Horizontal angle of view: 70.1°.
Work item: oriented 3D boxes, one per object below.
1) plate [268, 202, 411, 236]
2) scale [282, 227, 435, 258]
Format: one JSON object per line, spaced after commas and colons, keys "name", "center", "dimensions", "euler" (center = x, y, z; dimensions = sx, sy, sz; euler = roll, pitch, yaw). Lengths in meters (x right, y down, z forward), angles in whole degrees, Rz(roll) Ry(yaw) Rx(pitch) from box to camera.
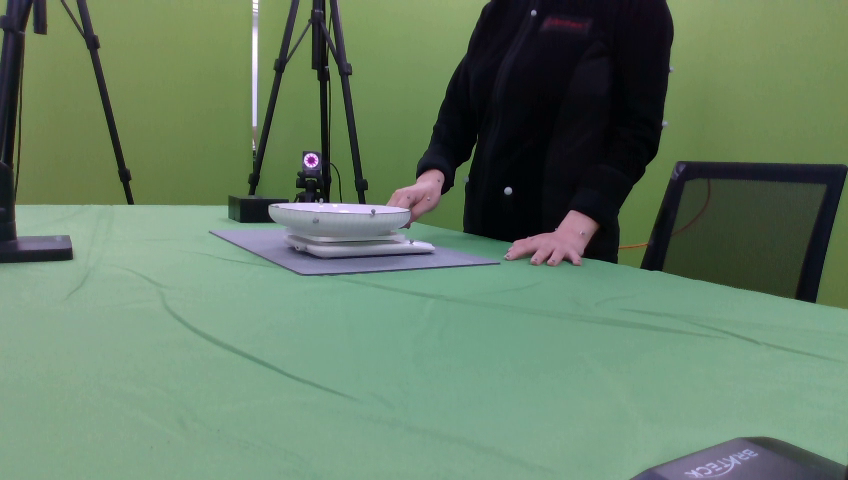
{"name": "plate", "center": [-0.123, -0.032, 0.894], "dimensions": [0.209, 0.038, 0.209], "euler": [2, 7, 0]}
{"name": "scale", "center": [-0.098, 0.000, 0.914], "dimensions": [0.202, 0.031, 0.148], "euler": [-2, 9, -33]}
